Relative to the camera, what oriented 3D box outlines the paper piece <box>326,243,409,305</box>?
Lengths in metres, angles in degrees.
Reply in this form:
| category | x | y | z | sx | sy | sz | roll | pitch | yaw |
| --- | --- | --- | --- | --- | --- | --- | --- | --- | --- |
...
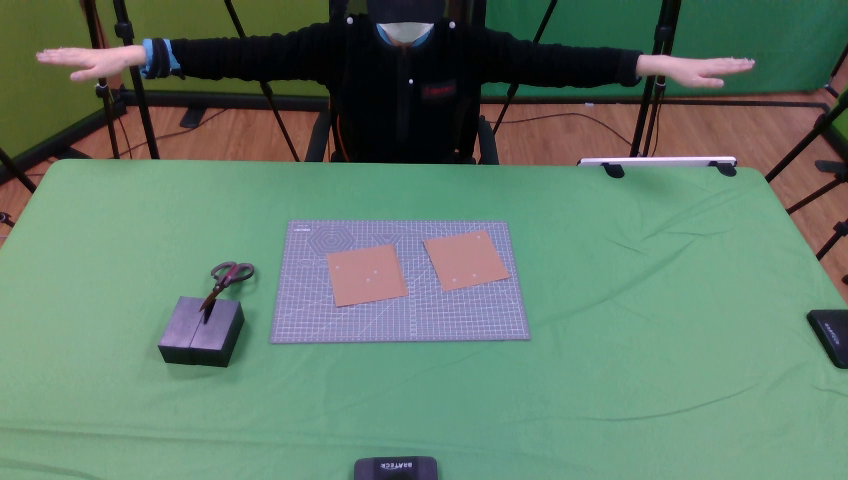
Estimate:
| category | x | y | z | sx | sy | sz | roll | pitch | yaw |
| --- | --- | --- | --- | --- | --- | --- | --- | --- | --- |
| paper piece | -0.108 | 0.061 | 1.135 | 0.136 | 0.004 | 0.134 | -8 | 46 | -12 |

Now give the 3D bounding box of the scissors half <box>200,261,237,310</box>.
| category | x | y | z | sx | sy | sz | roll | pitch | yaw |
| --- | --- | --- | --- | --- | --- | --- | --- | --- | --- |
| scissors half | -0.363 | 0.078 | 1.058 | 0.040 | 0.013 | 0.174 | 1 | 23 | -5 |

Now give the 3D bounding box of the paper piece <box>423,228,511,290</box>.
| category | x | y | z | sx | sy | sz | roll | pitch | yaw |
| --- | --- | --- | --- | --- | --- | --- | --- | --- | --- |
| paper piece | 0.082 | 0.034 | 1.176 | 0.138 | 0.009 | 0.135 | -8 | 52 | -15 |

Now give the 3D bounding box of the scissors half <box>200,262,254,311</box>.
| category | x | y | z | sx | sy | sz | roll | pitch | yaw |
| --- | --- | --- | --- | --- | --- | --- | --- | --- | --- |
| scissors half | -0.343 | 0.079 | 1.058 | 0.040 | 0.013 | 0.174 | 3 | 24 | 13 |
